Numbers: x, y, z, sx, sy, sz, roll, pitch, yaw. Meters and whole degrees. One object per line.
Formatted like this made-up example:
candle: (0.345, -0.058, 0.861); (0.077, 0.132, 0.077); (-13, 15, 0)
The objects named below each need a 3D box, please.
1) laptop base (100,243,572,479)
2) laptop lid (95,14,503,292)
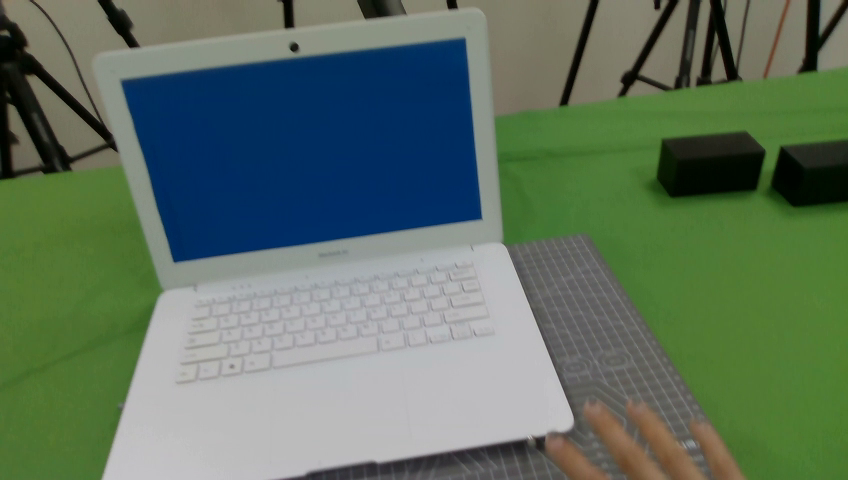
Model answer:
laptop base: (-0.075, 0.102, 0.533); (0.355, 0.023, 0.233); (-8, 39, -4)
laptop lid: (-0.104, -0.075, 0.584); (0.357, 0.243, 0.013); (-10, 22, -3)
